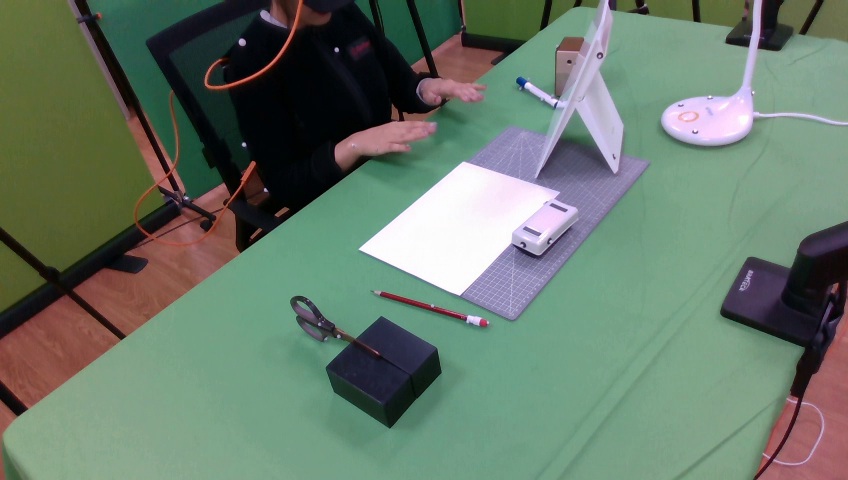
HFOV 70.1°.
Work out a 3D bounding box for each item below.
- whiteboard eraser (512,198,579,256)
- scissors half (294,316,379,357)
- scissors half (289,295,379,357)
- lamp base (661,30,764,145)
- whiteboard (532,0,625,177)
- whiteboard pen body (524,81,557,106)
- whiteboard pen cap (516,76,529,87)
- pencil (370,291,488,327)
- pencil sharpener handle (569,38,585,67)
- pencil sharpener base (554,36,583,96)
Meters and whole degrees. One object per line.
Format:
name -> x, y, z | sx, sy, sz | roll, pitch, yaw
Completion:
whiteboard eraser -> 0.191, -0.019, 0.948 | 0.055, 0.042, 0.113 | 26, 51, 36
scissors half -> -0.119, 0.132, 0.813 | 0.174, 0.040, 0.013 | 9, 32, 44
scissors half -> -0.122, 0.114, 0.803 | 0.174, 0.040, 0.013 | 26, 48, 32
lamp base -> 0.535, -0.287, 1.095 | 0.179, 0.181, 0.159 | -10, 40, -4
whiteboard -> 0.320, -0.258, 1.050 | 0.144, 0.306, 0.217 | 21, 45, 5
whiteboard pen body -> 0.249, -0.321, 1.313 | 0.017, 0.017, 0.139 | -24, 44, -17
whiteboard pen cap -> 0.221, -0.354, 1.352 | 0.018, 0.018, 0.033 | -24, 45, -17
pencil -> 0.003, 0.097, 0.877 | 0.193, 0.012, 0.012 | 13, 45, 26
pencil sharpener handle -> 0.332, -0.413, 1.317 | 0.036, 0.068, 0.030 | 19, 46, 13
pencil sharpener base -> 0.317, -0.371, 1.290 | 0.061, 0.107, 0.076 | 10, 44, 22
